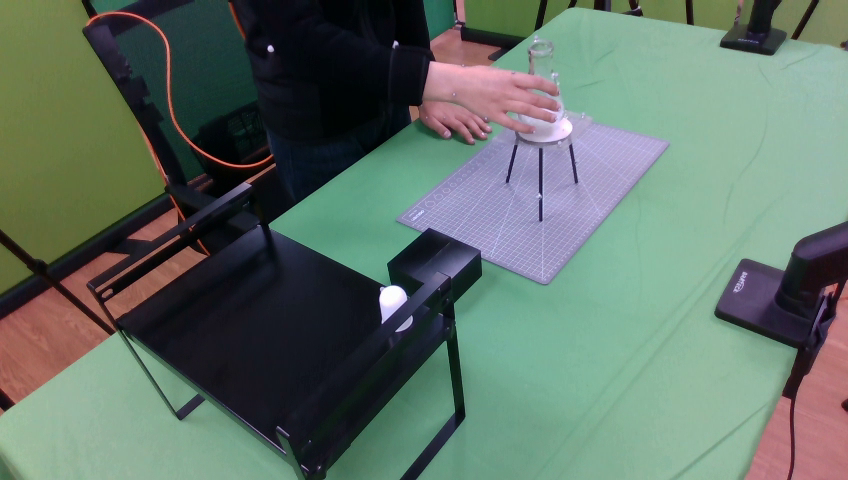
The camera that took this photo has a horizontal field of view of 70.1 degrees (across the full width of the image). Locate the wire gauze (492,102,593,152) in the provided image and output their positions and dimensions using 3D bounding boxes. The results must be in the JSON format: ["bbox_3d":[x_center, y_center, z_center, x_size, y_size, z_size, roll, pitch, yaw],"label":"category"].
[{"bbox_3d":[0.190,-0.180,0.964,0.120,0.011,0.125,19,48,27],"label":"wire gauze"}]

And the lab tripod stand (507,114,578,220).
[{"bbox_3d":[0.198,-0.128,1.005,0.148,0.132,0.147,-3,42,3],"label":"lab tripod stand"}]

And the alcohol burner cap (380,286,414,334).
[{"bbox_3d":[-0.029,0.067,0.605,0.034,0.048,0.033,-5,40,4],"label":"alcohol burner cap"}]

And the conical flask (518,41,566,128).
[{"bbox_3d":[0.177,-0.236,0.912,0.075,0.122,0.075,-6,46,7],"label":"conical flask"}]

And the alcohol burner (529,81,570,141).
[{"bbox_3d":[0.241,-0.251,1.159,0.078,0.119,0.077,-3,43,4],"label":"alcohol burner"}]
